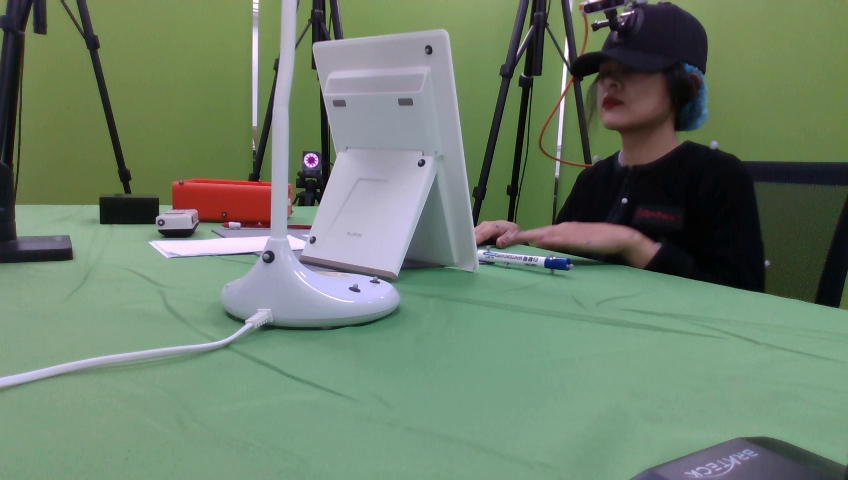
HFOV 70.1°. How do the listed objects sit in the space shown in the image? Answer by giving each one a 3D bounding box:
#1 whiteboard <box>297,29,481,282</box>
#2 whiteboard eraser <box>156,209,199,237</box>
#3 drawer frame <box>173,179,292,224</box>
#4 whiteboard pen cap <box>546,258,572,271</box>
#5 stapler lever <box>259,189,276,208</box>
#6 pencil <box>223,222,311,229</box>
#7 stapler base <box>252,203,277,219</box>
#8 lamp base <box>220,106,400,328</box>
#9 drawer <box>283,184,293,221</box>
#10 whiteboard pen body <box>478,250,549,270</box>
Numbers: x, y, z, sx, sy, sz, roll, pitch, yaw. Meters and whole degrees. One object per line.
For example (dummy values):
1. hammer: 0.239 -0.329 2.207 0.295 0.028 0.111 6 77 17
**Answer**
1. whiteboard: -0.076 -0.082 0.741 0.216 0.305 0.144 9 29 37
2. whiteboard eraser: -0.411 -0.029 1.016 0.056 0.042 0.112 2 7 -16
3. drawer frame: -0.400 -0.086 1.300 0.214 0.082 0.201 1 8 -8
4. whiteboard pen cap: 0.176 0.032 0.790 0.033 0.018 0.018 3 6 38
5. stapler lever: -0.335 -0.090 1.300 0.027 0.040 0.118 15 4 -10
6. pencil: -0.274 -0.025 1.132 0.195 0.012 0.012 1 7 -25
7. stapler base: -0.341 -0.065 1.301 0.041 0.024 0.130 15 5 -10
8. lamp base: -0.101 -0.023 0.531 0.160 0.180 0.179 4 10 10
9. drawer: -0.396 -0.084 1.301 0.212 0.073 0.194 1 8 -7
10. whiteboard pen body: 0.130 0.028 0.827 0.140 0.017 0.017 7 9 38
